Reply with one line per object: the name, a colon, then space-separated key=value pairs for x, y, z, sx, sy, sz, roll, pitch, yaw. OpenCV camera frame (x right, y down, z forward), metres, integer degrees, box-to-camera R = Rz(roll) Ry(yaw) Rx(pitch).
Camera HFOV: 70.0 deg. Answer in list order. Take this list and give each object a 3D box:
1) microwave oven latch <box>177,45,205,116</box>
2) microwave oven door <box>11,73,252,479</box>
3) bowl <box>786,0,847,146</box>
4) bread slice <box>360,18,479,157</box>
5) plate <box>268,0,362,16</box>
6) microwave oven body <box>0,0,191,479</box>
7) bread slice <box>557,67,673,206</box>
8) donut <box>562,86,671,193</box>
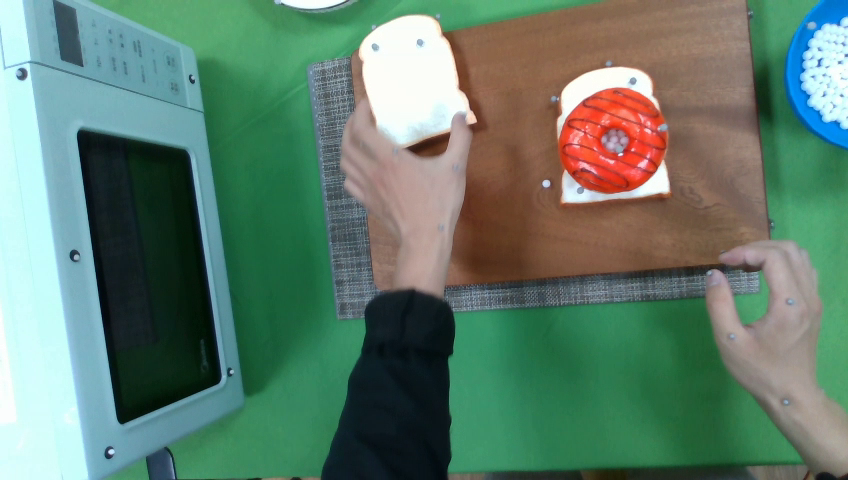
microwave oven latch: x=-0.283 y=-0.186 z=0.715 sx=0.030 sy=0.029 sz=0.079 roll=-8 pitch=91 yaw=14
microwave oven door: x=-0.279 y=0.033 z=0.618 sx=0.039 sy=0.244 sz=0.355 roll=-9 pitch=89 yaw=15
bowl: x=0.394 y=-0.150 z=0.535 sx=0.151 sy=0.077 sz=0.151 roll=1 pitch=93 yaw=15
bread slice: x=-0.013 y=-0.164 z=0.642 sx=0.107 sy=0.018 sz=0.134 roll=-21 pitch=86 yaw=14
plate: x=-0.115 y=-0.355 z=0.683 sx=0.207 sy=0.039 sz=0.207 roll=0 pitch=92 yaw=15
microwave oven body: x=-0.424 y=0.013 z=0.660 sx=0.325 sy=0.261 sz=0.441 roll=-9 pitch=90 yaw=14
bread slice: x=0.182 y=-0.102 z=0.594 sx=0.104 sy=0.019 sz=0.131 roll=-7 pitch=92 yaw=14
donut: x=0.178 y=-0.093 z=0.565 sx=0.099 sy=0.048 sz=0.099 roll=1 pitch=93 yaw=15
